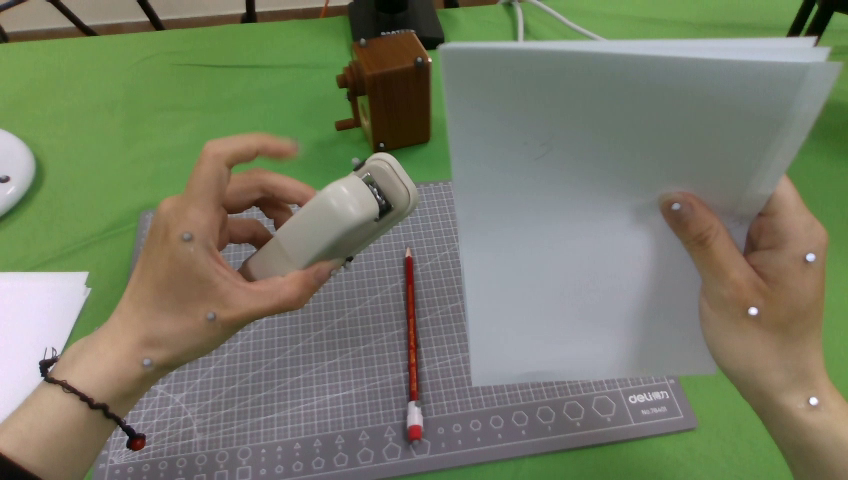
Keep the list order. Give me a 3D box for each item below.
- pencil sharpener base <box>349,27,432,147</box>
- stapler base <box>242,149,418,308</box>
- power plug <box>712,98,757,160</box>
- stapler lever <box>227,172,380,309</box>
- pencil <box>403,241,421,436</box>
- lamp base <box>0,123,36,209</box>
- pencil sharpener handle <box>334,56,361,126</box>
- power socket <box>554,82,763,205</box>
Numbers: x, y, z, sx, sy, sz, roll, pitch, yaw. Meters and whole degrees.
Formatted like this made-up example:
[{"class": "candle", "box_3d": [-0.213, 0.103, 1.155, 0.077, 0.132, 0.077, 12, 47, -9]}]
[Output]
[{"class": "pencil sharpener base", "box_3d": [-0.036, -0.161, 0.647, 0.077, 0.108, 0.060, -16, 52, -13]}, {"class": "stapler base", "box_3d": [-0.063, -0.003, 0.363, 0.041, 0.130, 0.024, 55, 24, 1]}, {"class": "power plug", "box_3d": [0.328, -0.106, 0.626, 0.072, 0.053, 0.035, -34, 59, -25]}, {"class": "stapler lever", "box_3d": [-0.072, 0.004, 0.341, 0.027, 0.118, 0.040, 55, 24, 1]}, {"class": "pencil", "box_3d": [-0.012, 0.073, 0.513, 0.012, 0.012, 0.192, -2, 48, -2]}, {"class": "lamp base", "box_3d": [-0.488, -0.121, 0.558, 0.160, 0.182, 0.177, -33, 55, -25]}, {"class": "pencil sharpener handle", "box_3d": [-0.082, -0.152, 0.622, 0.031, 0.068, 0.035, -16, 30, -13]}, {"class": "power socket", "box_3d": [0.252, -0.109, 0.658, 0.225, 0.033, 0.072, 32, 56, 24]}]
